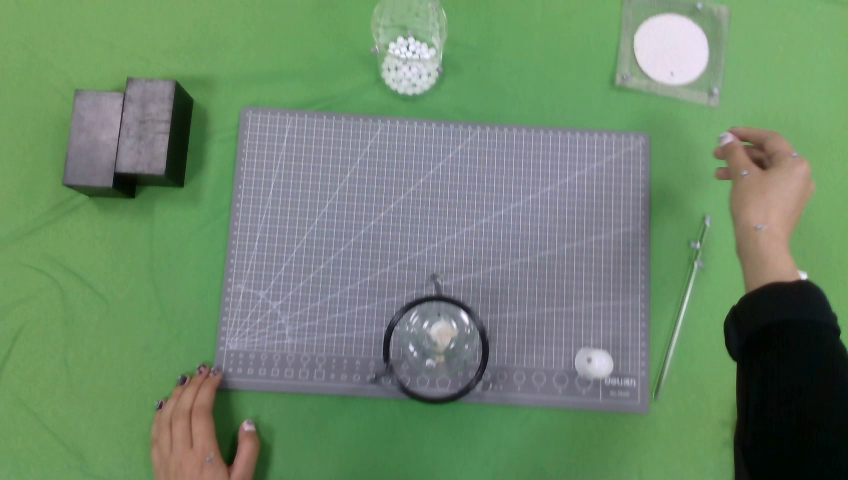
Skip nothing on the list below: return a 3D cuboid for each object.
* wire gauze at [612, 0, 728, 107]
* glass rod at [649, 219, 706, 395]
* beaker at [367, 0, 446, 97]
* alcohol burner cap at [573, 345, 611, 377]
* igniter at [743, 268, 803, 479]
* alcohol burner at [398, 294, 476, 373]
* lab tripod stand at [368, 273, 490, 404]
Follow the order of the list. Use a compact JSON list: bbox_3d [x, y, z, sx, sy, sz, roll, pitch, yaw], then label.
[{"bbox_3d":[0.279,-0.219,0.689,0.125,0.011,0.121,11,81,2],"label":"wire gauze"},{"bbox_3d":[0.272,0.069,0.648,0.008,0.008,0.199,20,82,1],"label":"glass rod"},{"bbox_3d":[-0.015,-0.197,0.631,0.074,0.100,0.084,-40,85,-6],"label":"beaker"},{"bbox_3d":[0.173,0.124,0.617,0.034,0.048,0.033,0,79,0],"label":"alcohol burner cap"},{"bbox_3d":[0.361,0.165,0.627,0.057,0.025,0.275,13,81,-11],"label":"igniter"},{"bbox_3d":[0.013,0.089,0.581,0.078,0.119,0.077,0,79,-2],"label":"alcohol burner"},{"bbox_3d":[0.006,0.097,0.569,0.148,0.132,0.148,0,80,0],"label":"lab tripod stand"}]
